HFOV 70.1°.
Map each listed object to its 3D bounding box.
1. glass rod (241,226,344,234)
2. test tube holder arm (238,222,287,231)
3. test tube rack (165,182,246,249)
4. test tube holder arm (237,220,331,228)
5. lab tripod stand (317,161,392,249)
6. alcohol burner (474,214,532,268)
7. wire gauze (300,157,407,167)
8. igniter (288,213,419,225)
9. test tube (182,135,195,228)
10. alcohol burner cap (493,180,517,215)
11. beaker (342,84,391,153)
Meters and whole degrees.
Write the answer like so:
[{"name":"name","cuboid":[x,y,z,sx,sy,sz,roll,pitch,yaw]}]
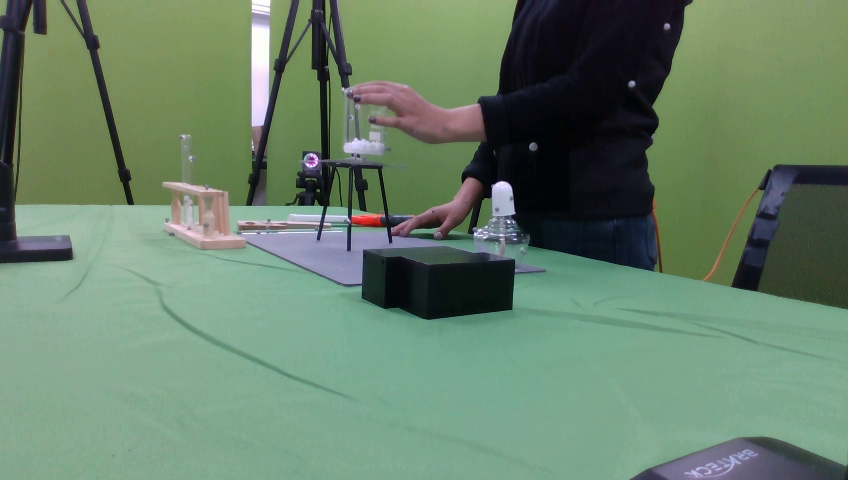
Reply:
[{"name":"glass rod","cuboid":[-0.239,-0.020,1.119,0.201,0.008,0.008,-4,9,-34]},{"name":"test tube holder arm","cuboid":[-0.296,-0.024,1.112,0.088,0.015,0.010,-2,41,-32]},{"name":"test tube rack","cuboid":[-0.360,-0.045,0.982,0.067,0.085,0.241,-3,9,-34]},{"name":"test tube holder arm","cuboid":[-0.260,-0.029,1.140,0.179,0.015,0.013,-2,41,-32]},{"name":"lab tripod stand","cuboid":[-0.111,-0.059,0.963,0.148,0.131,0.148,4,8,0]},{"name":"alcohol burner","cuboid":[0.107,-0.022,0.819,0.078,0.119,0.078,1,9,0]},{"name":"wire gauze","cuboid":[-0.112,-0.126,0.959,0.121,0.011,0.126,11,11,41]},{"name":"igniter","cuboid":[-0.145,-0.044,1.278,0.278,0.025,0.057,-1,-2,-21]},{"name":"test tube","cuboid":[-0.382,-0.095,0.983,0.017,0.150,0.017,-1,2,0]},{"name":"alcohol burner cap","cuboid":[0.107,-0.057,0.812,0.034,0.048,0.034,-7,11,2]},{"name":"beaker","cuboid":[-0.093,-0.187,0.942,0.073,0.100,0.084,9,9,43]}]
